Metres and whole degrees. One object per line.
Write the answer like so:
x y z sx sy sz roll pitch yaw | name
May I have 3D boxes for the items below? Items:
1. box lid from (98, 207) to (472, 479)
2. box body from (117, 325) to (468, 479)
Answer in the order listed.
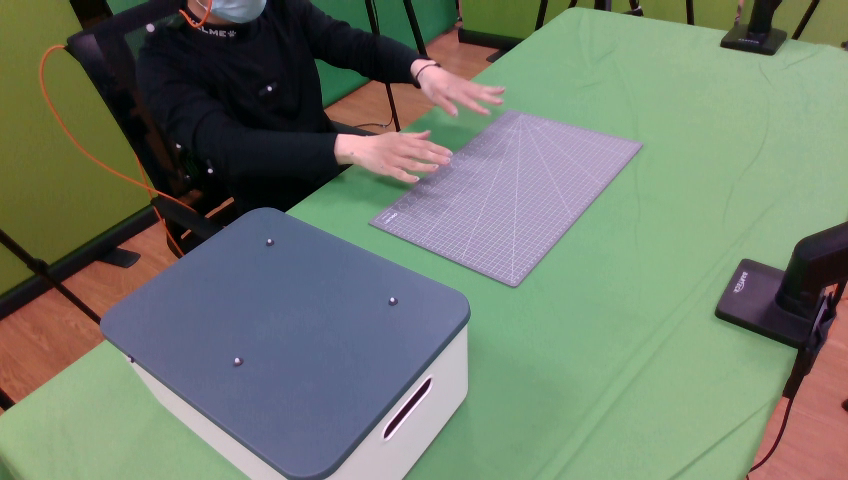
-0.161 0.083 0.675 0.368 0.015 0.264 22 48 30 | box lid
-0.151 0.140 0.721 0.361 0.161 0.255 23 49 30 | box body
